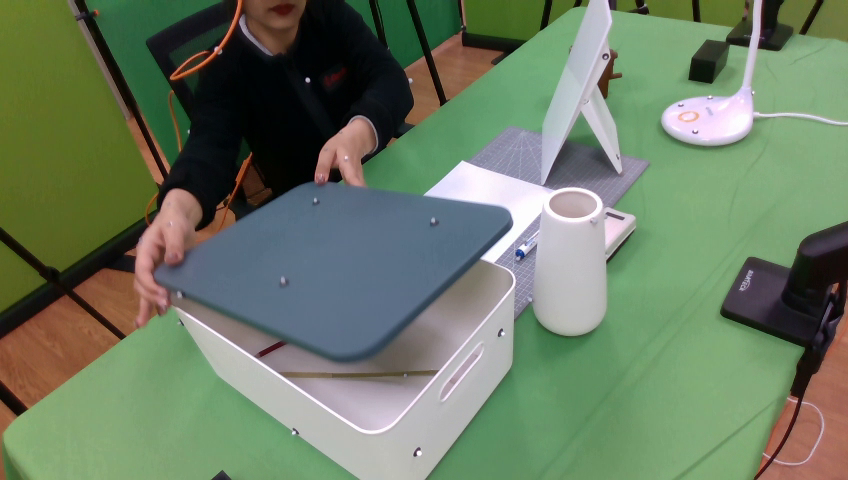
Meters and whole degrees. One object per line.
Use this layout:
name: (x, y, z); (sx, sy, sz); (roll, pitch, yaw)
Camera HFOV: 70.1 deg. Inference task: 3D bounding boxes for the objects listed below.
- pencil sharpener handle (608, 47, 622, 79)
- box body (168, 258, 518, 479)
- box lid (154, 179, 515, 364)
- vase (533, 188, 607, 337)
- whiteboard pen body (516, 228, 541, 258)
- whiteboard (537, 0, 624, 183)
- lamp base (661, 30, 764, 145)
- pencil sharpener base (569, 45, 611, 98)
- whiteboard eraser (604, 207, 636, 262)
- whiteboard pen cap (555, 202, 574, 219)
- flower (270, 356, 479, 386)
pencil sharpener handle: (0.395, -0.369, 1.254); (0.031, 0.068, 0.036); (-10, 32, -1)
box body: (-0.093, 0.113, 0.757); (0.361, 0.161, 0.255); (22, 49, 32)
box lid: (-0.112, 0.008, 0.679); (0.368, 0.015, 0.264); (12, 38, 40)
vase: (0.187, 0.033, 0.771); (0.098, 0.201, 0.097); (-6, 41, 6)
whiteboard pen body: (0.192, -0.015, 0.964); (0.017, 0.017, 0.141); (26, 51, 34)
whiteboard: (0.316, -0.256, 1.047); (0.144, 0.306, 0.216); (15, 42, -1)
lamp base: (0.535, -0.287, 1.096); (0.179, 0.181, 0.159); (-10, 40, -4)
pencil sharpener base: (0.346, -0.352, 1.262); (0.077, 0.107, 0.061); (-10, 40, -1)
whiteboard eraser: (0.272, -0.003, 0.919); (0.055, 0.042, 0.113); (27, 51, 32)
whiteboard pen cap: (0.230, -0.048, 0.994); (0.018, 0.018, 0.033); (26, 54, 34)
flower: (-0.086, 0.174, 0.786); (0.361, 0.038, 0.044); (-2, 45, 12)
